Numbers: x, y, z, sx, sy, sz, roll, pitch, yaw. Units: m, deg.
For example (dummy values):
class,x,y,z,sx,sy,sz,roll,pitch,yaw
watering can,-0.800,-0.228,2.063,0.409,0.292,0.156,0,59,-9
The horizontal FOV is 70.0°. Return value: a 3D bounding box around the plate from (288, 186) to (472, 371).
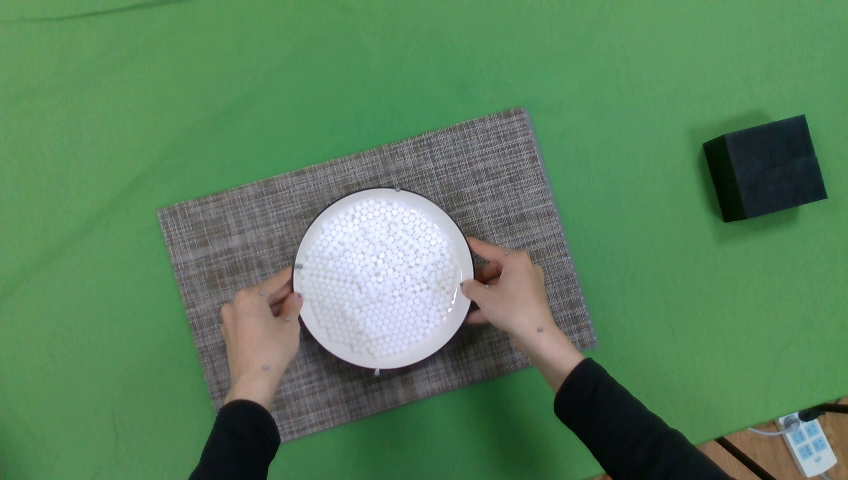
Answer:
class,x,y,z,sx,sy,sz,roll,pitch,yaw
plate,-0.049,0.043,0.696,0.209,0.038,0.209,0,89,-1
